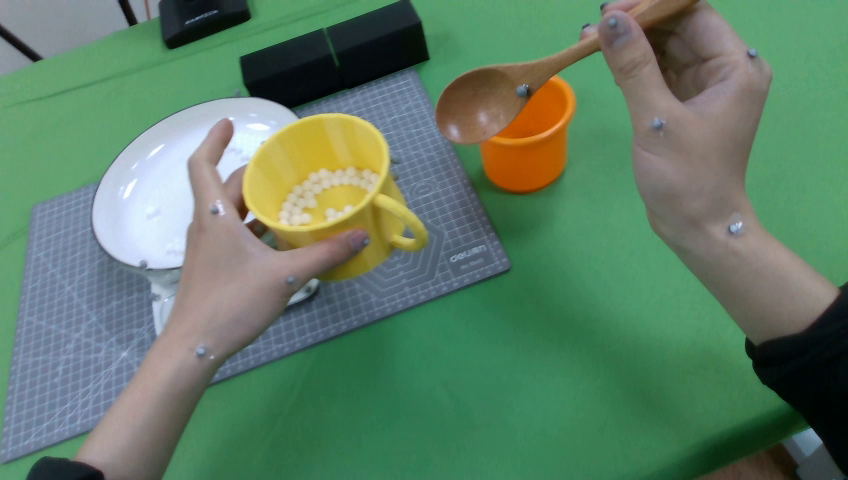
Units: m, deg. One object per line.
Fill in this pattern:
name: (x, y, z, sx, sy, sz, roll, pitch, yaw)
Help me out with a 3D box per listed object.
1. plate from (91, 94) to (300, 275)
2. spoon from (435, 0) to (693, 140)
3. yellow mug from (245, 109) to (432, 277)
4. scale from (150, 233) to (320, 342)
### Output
plate: (-0.200, -0.052, 0.564, 0.209, 0.038, 0.207, -6, 54, 8)
spoon: (0.084, -0.102, 0.314, 0.193, 0.042, 0.021, -21, 13, 38)
yellow mug: (-0.052, -0.028, 0.418, 0.130, 0.064, 0.099, 20, 64, 22)
scale: (-0.185, -0.012, 0.572, 0.149, 0.032, 0.198, -21, 54, -2)
